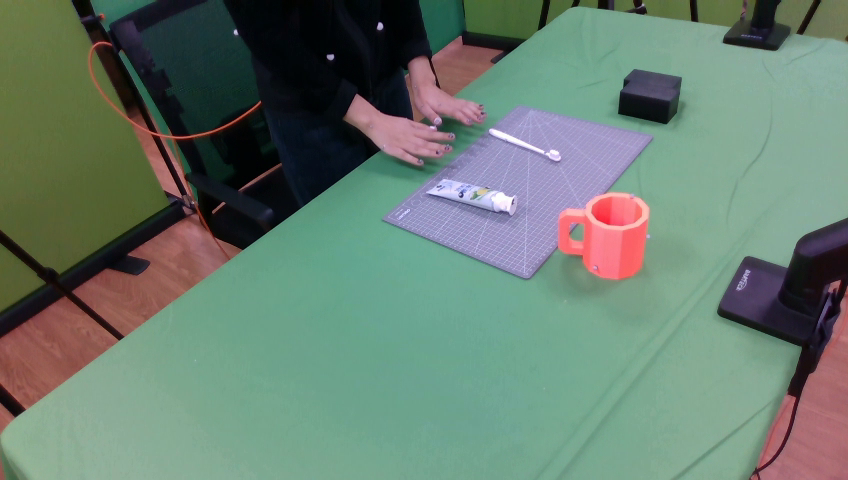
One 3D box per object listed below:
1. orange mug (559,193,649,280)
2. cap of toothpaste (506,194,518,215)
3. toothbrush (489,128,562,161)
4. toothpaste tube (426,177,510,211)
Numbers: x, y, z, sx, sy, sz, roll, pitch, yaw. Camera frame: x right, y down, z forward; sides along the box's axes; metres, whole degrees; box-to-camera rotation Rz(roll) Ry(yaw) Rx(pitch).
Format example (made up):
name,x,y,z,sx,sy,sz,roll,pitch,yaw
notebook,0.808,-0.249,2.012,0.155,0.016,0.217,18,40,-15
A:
name,x,y,z,sx,sy,sz,roll,pitch,yaw
orange mug,0.261,-0.008,0.884,0.126,0.101,0.083,9,43,14
cap of toothpaste,0.146,-0.060,1.007,0.011,0.037,0.037,14,46,22
toothbrush,0.191,-0.188,1.167,0.014,0.017,0.180,-44,48,-17
toothpaste tube,0.083,-0.081,1.054,0.164,0.034,0.055,18,40,34
